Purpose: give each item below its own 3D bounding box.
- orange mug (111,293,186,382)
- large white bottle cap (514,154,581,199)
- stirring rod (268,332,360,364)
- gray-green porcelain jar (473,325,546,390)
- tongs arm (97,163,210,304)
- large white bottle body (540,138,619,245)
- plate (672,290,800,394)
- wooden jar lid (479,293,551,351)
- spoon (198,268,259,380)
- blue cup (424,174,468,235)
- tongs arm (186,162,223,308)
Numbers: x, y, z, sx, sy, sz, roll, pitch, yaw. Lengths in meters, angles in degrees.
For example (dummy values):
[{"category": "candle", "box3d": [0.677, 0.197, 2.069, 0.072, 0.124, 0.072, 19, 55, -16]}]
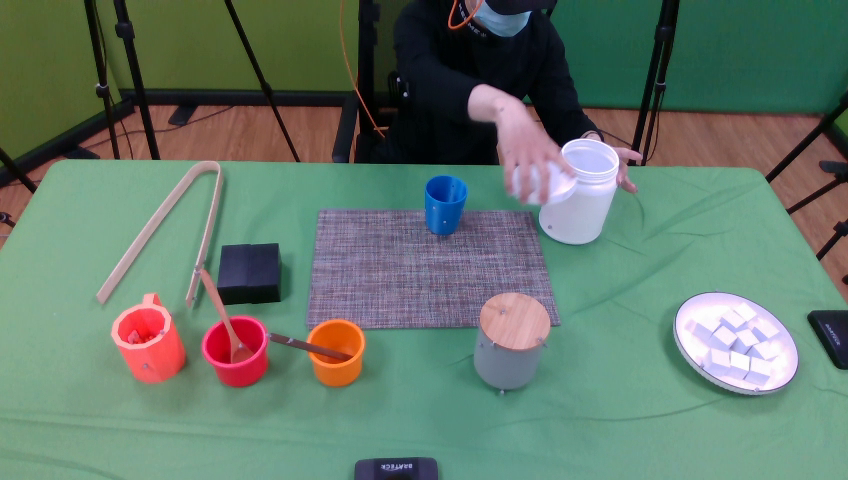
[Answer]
[{"category": "orange mug", "box3d": [-0.435, 0.149, 0.969, 0.083, 0.101, 0.125, -5, 51, -8]}, {"category": "large white bottle cap", "box3d": [0.214, -0.111, 1.052, 0.115, 0.018, 0.114, -6, 40, 6]}, {"category": "stirring rod", "box3d": [-0.167, 0.169, 0.942, 0.177, 0.006, 0.014, 26, 26, -41]}, {"category": "gray-green porcelain jar", "box3d": [0.135, 0.170, 0.969, 0.106, 0.127, 0.105, 2, 46, -2]}, {"category": "tongs arm", "box3d": [-0.520, -0.028, 1.183, 0.028, 0.028, 0.385, 5, 45, 12]}, {"category": "large white bottle body", "box3d": [0.308, -0.096, 1.198, 0.131, 0.185, 0.130, 2, 46, -1]}, {"category": "plate", "box3d": [0.533, 0.178, 1.050, 0.208, 0.039, 0.206, 2, 46, -2]}, {"category": "wooden jar lid", "box3d": [0.138, 0.127, 0.925, 0.108, 0.021, 0.107, 1, 47, -1]}, {"category": "spoon", "box3d": [-0.312, 0.132, 0.962, 0.041, 0.021, 0.194, -24, 96, -22]}, {"category": "blue cup", "box3d": [0.039, -0.065, 1.201, 0.093, 0.101, 0.092, 3, 46, -3]}, {"category": "tongs arm", "box3d": [-0.436, -0.024, 1.181, 0.051, 0.026, 0.382, -2, 45, 0]}]
